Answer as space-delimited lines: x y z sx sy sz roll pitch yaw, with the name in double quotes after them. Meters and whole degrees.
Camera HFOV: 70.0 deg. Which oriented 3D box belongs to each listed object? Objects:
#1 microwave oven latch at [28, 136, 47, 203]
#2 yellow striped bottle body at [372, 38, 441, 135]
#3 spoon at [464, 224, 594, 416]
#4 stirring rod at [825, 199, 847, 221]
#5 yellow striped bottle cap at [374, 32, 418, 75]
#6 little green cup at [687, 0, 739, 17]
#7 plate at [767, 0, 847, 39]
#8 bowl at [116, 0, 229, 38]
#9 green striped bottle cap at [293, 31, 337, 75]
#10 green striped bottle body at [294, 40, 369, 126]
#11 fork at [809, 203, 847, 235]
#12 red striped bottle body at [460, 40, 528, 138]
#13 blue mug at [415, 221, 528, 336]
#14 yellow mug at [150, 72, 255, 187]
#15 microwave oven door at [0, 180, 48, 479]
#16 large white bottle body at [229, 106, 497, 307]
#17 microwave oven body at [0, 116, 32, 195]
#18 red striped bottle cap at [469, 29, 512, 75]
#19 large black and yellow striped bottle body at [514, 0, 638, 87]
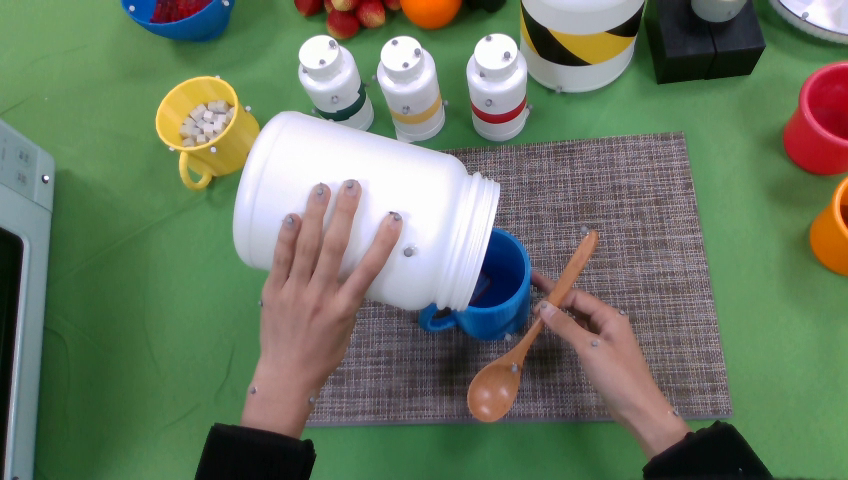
-0.472 -0.082 0.723 0.030 0.030 0.078 -10 69 4 "microwave oven latch"
-0.019 -0.172 0.666 0.063 0.121 0.062 -3 68 8 "yellow striped bottle body"
0.094 0.071 0.526 0.041 0.021 0.194 32 103 5 "spoon"
0.402 -0.001 0.531 0.014 0.006 0.175 -1 26 5 "stirring rod"
-0.028 -0.190 0.618 0.044 0.019 0.044 -1 64 2 "yellow striped bottle cap"
0.311 -0.271 0.643 0.061 0.039 0.061 -2 67 5 "little green cup"
0.481 -0.311 0.689 0.209 0.038 0.207 -3 70 7 "plate"
-0.311 -0.319 0.788 0.151 0.077 0.150 -3 69 7 "bowl"
-0.114 -0.196 0.633 0.044 0.020 0.044 -2 69 6 "green striped bottle cap"
-0.105 -0.177 0.681 0.063 0.120 0.062 -3 69 7 "green striped bottle body"
0.431 0.000 0.519 0.028 0.019 0.205 -40 25 -7 "fork"
0.075 -0.168 0.652 0.063 0.121 0.062 -6 65 13 "red striped bottle body"
0.043 0.048 0.577 0.116 0.107 0.081 -31 67 -4 "blue mug"
-0.263 -0.124 0.714 0.100 0.064 0.130 6 71 10 "yellow mug"
-0.451 0.082 0.550 0.039 0.246 0.353 -12 68 4 "microwave oven door"
-0.044 -0.022 0.486 0.185 0.131 0.130 16 72 0 "large white bottle body"
-0.600 0.076 0.579 0.326 0.262 0.438 -12 69 3 "microwave oven body"
0.066 -0.188 0.603 0.044 0.018 0.044 -1 68 4 "red striped bottle cap"
0.161 -0.265 0.640 0.130 0.185 0.130 -3 69 8 "large black and yellow striped bottle body"
